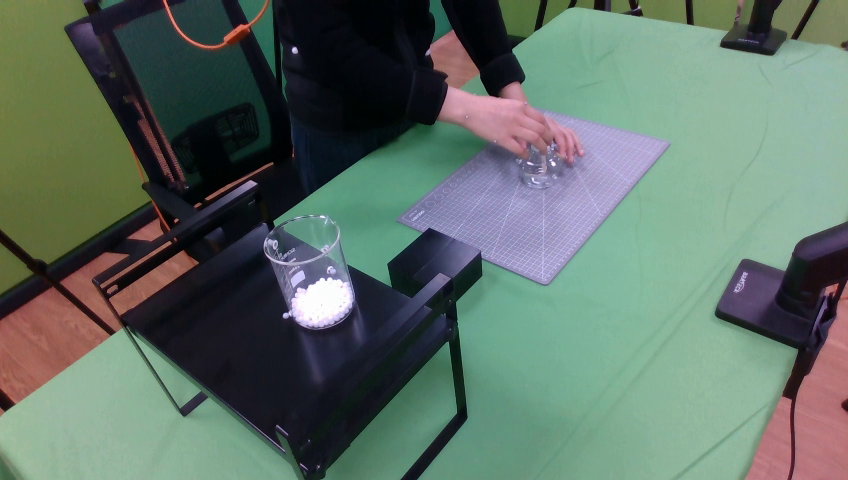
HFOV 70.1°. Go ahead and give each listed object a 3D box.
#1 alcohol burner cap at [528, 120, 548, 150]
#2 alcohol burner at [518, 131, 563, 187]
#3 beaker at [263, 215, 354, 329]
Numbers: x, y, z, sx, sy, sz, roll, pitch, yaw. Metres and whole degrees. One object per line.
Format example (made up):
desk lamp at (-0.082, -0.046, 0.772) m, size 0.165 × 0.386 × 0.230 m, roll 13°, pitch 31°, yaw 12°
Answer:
alcohol burner cap at (0.193, -0.181, 1.024) m, size 0.034 × 0.048 × 0.033 m, roll -4°, pitch 37°, yaw 4°
alcohol burner at (0.202, -0.151, 1.046) m, size 0.078 × 0.119 × 0.077 m, roll -6°, pitch 42°, yaw 6°
beaker at (-0.112, 0.034, 0.616) m, size 0.073 × 0.101 × 0.084 m, roll 13°, pitch 44°, yaw 22°
